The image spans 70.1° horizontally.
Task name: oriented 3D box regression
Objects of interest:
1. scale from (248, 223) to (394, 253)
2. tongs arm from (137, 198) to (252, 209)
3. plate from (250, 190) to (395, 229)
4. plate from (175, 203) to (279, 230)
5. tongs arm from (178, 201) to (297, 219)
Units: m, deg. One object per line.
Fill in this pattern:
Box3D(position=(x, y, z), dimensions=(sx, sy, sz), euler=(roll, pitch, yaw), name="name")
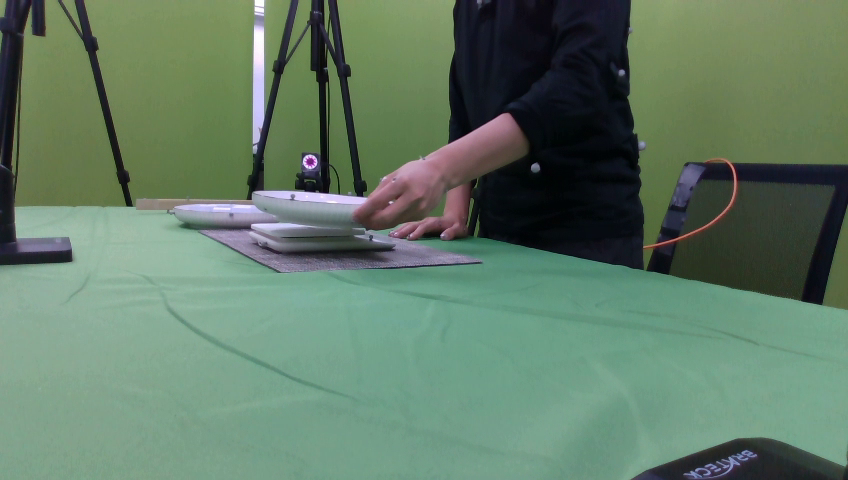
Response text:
Box3D(position=(-0.162, -0.006, 0.954), dimensions=(0.202, 0.031, 0.148), euler=(-2, 9, -32), name="scale")
Box3D(position=(-0.489, -0.086, 1.472), dimensions=(0.050, 0.026, 0.387), euler=(10, 9, 42), name="tongs arm")
Box3D(position=(-0.147, -0.045, 0.883), dimensions=(0.209, 0.038, 0.209), euler=(5, 7, 0), name="plate")
Box3D(position=(-0.381, -0.047, 1.199), dimensions=(0.208, 0.039, 0.207), euler=(3, 7, 0), name="plate")
Box3D(position=(-0.418, -0.072, 1.419), dimensions=(0.028, 0.028, 0.389), euler=(4, 7, 28), name="tongs arm")
